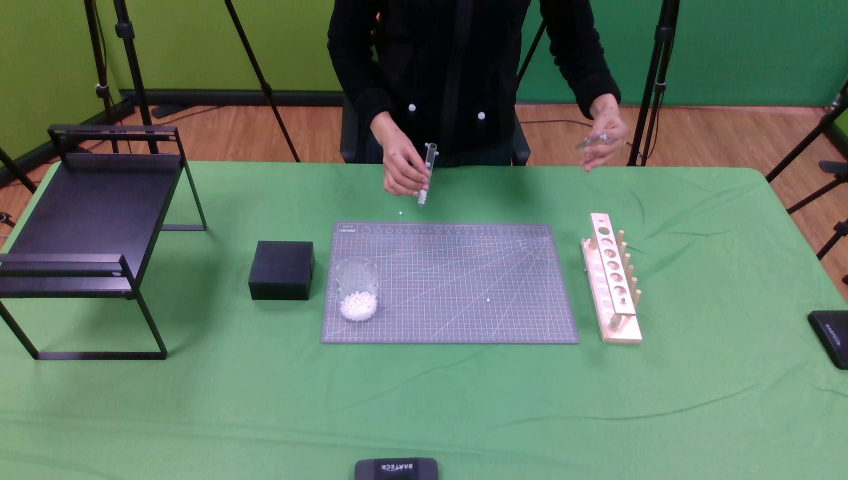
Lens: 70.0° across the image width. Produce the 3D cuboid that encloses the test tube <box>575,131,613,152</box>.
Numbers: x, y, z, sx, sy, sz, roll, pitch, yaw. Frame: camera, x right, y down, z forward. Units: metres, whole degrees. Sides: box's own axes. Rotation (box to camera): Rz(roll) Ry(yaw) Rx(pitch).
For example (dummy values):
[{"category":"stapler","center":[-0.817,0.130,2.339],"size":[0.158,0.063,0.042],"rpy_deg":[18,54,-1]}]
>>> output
[{"category":"test tube","center":[0.293,-0.170,1.054],"size":[0.017,0.150,0.017],"rpy_deg":[0,90,-5]}]

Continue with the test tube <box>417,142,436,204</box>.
[{"category":"test tube","center":[0.004,-0.119,1.115],"size":[0.017,0.151,0.017],"rpy_deg":[5,50,-6]}]

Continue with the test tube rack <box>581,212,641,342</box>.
[{"category":"test tube rack","center":[0.351,0.064,1.121],"size":[0.067,0.085,0.241],"rpy_deg":[3,46,-1]}]

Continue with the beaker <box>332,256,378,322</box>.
[{"category":"beaker","center":[-0.114,0.089,1.047],"size":[0.083,0.101,0.074],"rpy_deg":[30,51,21]}]
